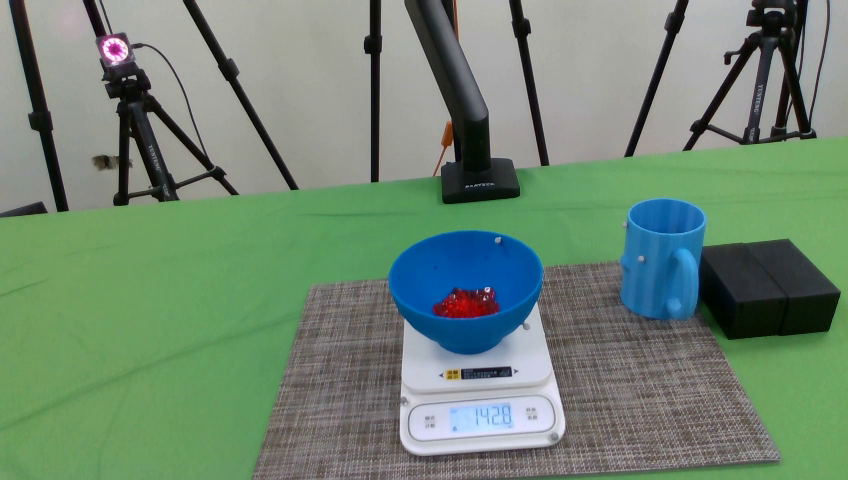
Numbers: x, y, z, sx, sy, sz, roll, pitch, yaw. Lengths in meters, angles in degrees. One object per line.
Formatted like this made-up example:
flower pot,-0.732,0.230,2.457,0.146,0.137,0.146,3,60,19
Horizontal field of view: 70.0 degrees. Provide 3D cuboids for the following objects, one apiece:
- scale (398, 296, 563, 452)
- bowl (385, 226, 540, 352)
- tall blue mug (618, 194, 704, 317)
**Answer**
scale,0.050,0.118,0.606,0.148,0.032,0.199,-5,33,3
bowl,0.040,0.058,0.603,0.151,0.077,0.150,-4,33,3
tall blue mug,0.260,0.022,0.642,0.078,0.109,0.106,-22,36,-23
